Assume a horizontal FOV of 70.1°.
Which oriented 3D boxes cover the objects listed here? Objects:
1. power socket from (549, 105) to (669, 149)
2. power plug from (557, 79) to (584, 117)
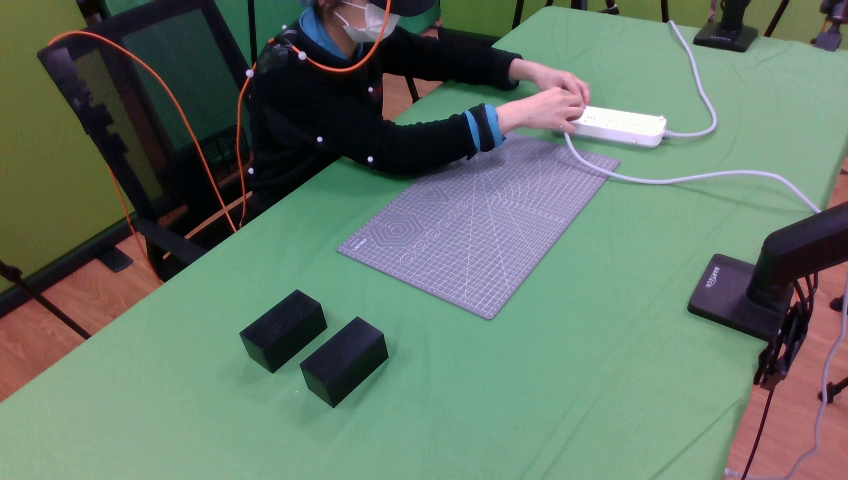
[{"bbox_3d":[0.353,-0.222,1.169,0.225,0.033,0.072,17,47,25],"label":"power socket"},{"bbox_3d":[0.278,-0.269,1.159,0.035,0.073,0.052,-50,35,-19],"label":"power plug"}]
